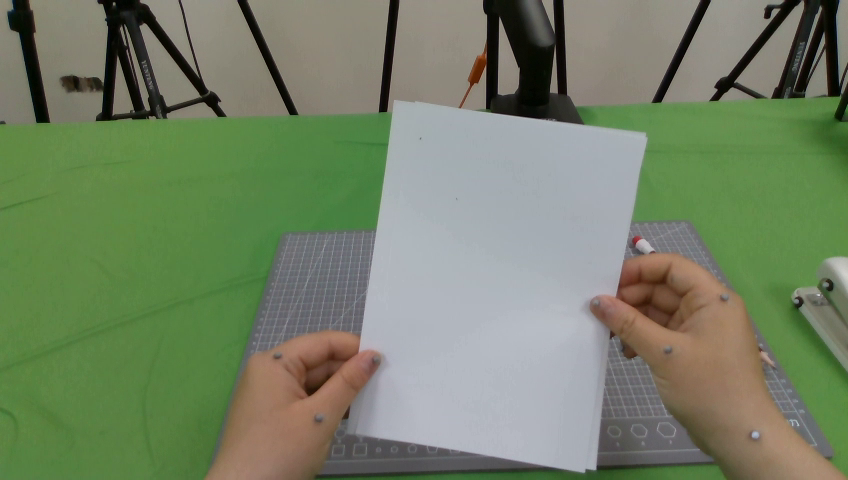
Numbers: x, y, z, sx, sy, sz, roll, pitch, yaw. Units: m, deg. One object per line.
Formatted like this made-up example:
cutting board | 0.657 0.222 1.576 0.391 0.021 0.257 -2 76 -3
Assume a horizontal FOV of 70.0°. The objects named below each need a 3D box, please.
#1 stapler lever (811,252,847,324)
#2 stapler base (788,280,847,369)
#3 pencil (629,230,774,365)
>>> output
stapler lever | 0.364 0.056 0.502 0.027 0.040 0.117 -5 38 0
stapler base | 0.364 0.074 0.518 0.041 0.024 0.129 -5 39 0
pencil | 0.251 0.047 0.563 0.012 0.012 0.192 -14 39 -15
